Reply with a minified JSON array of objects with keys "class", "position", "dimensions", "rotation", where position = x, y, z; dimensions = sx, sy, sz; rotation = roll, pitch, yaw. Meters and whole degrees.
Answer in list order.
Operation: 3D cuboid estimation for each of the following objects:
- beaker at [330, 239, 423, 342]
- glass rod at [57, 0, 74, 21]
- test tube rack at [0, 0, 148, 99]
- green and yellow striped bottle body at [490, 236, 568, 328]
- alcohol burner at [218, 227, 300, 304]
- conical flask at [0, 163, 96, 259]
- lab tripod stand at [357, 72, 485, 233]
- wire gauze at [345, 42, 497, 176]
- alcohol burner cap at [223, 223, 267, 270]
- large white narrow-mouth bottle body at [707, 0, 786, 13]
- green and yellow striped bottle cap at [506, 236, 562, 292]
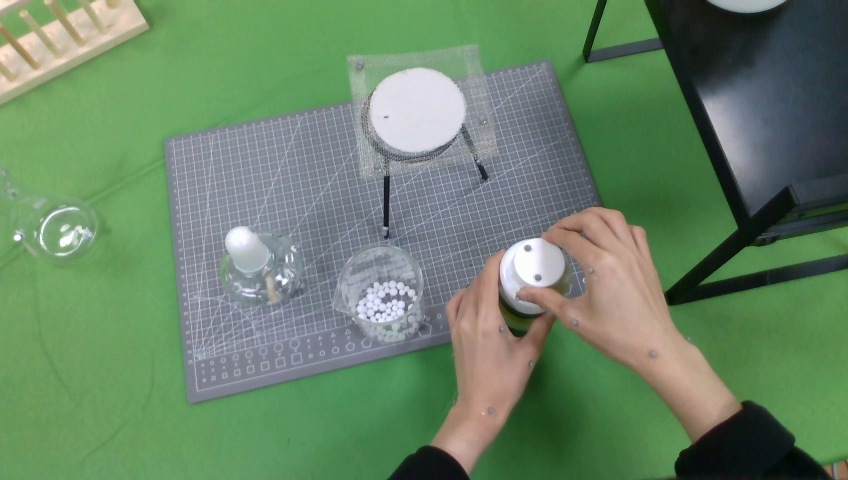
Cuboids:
[{"class":"beaker","position":[-0.040,0.053,0.563],"dimensions":[0.084,0.101,0.073],"rotation":[-23,70,-6]},{"class":"glass rod","position":[-0.419,-0.305,0.640],"dimensions":[0.008,0.201,0.008],"rotation":[1,67,-3]},{"class":"test tube rack","position":[-0.456,-0.240,0.688],"dimensions":[0.242,0.086,0.066],"rotation":[-32,72,-10]},{"class":"green and yellow striped bottle body","position":[0.095,0.037,0.554],"dimensions":[0.063,0.120,0.062],"rotation":[-1,69,2]},{"class":"alcohol burner","position":[-0.159,0.018,0.571],"dimensions":[0.078,0.120,0.077],"rotation":[0,68,0]},{"class":"conical flask","position":[-0.388,-0.033,0.592],"dimensions":[0.075,0.122,0.075],"rotation":[0,69,2]},{"class":"lab tripod stand","position":[-0.009,-0.091,0.596],"dimensions":[0.148,0.132,0.147],"rotation":[0,68,0]},{"class":"wire gauze","position":[-0.004,-0.120,0.535],"dimensions":[0.121,0.011,0.124],"rotation":[-7,70,-3]},{"class":"alcohol burner cap","position":[-0.161,0.003,0.537],"dimensions":[0.034,0.048,0.033],"rotation":[0,63,0]},{"class":"large white narrow-mouth bottle body","position":[0.269,-0.266,0.434],"dimensions":[0.102,0.196,0.101],"rotation":[0,68,1]},{"class":"green and yellow striped bottle cap","position":[0.092,0.020,0.506],"dimensions":[0.045,0.020,0.045],"rotation":[3,68,-6]}]
